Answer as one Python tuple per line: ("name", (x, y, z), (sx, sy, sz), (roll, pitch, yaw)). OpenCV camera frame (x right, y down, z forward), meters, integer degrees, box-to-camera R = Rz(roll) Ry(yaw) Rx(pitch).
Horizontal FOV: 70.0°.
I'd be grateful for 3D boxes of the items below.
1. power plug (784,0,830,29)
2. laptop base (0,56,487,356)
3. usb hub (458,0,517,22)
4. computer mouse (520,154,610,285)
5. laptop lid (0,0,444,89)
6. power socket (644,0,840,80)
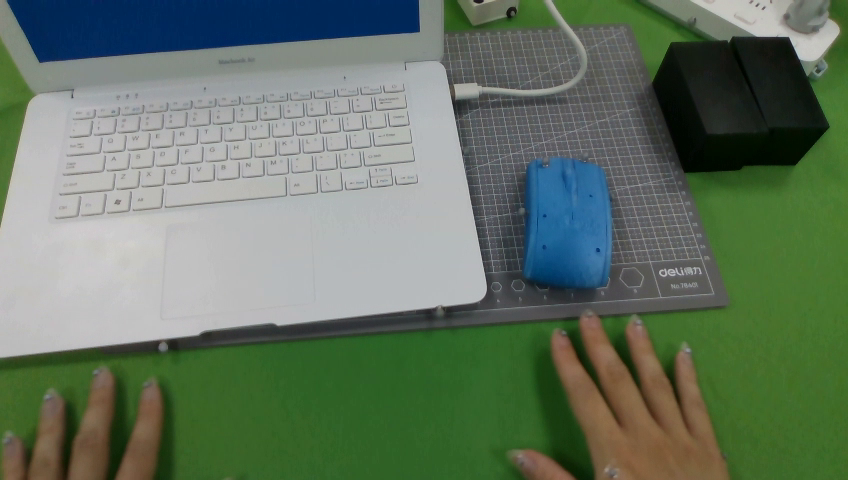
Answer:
("power plug", (0.361, -0.217, 0.554), (0.072, 0.053, 0.035), (-34, 65, -17))
("laptop base", (-0.143, -0.039, 0.475), (0.355, 0.023, 0.233), (-6, 65, -5))
("usb hub", (0.044, -0.271, 0.605), (0.049, 0.025, 0.124), (-19, 63, -12))
("computer mouse", (0.107, -0.021, 0.457), (0.063, 0.041, 0.116), (6, 56, 5))
("laptop lid", (-0.160, -0.222, 0.443), (0.357, 0.244, 0.013), (-7, 48, -3))
("power socket", (0.287, -0.231, 0.585), (0.225, 0.033, 0.072), (39, 66, 19))
